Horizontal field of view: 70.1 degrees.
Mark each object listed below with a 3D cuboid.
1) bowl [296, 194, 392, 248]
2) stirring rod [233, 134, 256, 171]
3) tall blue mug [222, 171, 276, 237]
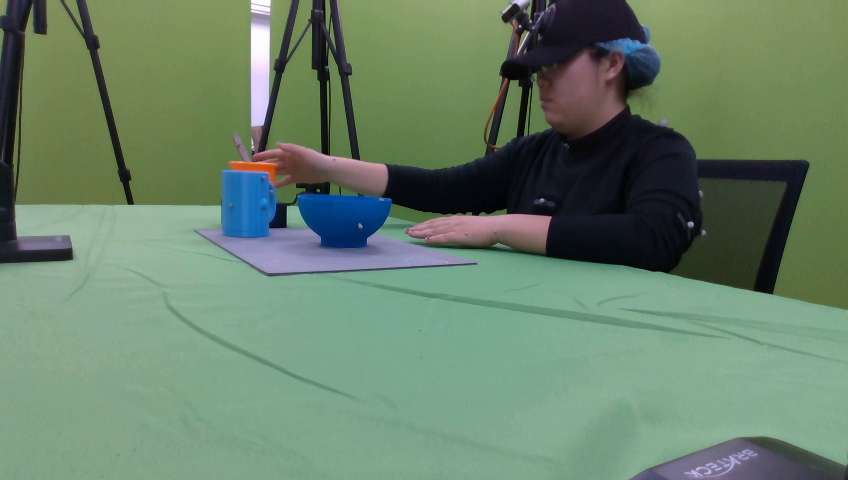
[{"bbox_3d":[-0.128,-0.030,0.964,0.151,0.077,0.151,2,7,0],"label":"bowl"},{"bbox_3d":[-0.346,-0.148,1.198,0.014,0.006,0.175,-6,53,-39],"label":"stirring rod"},{"bbox_3d":[-0.303,-0.065,1.043,0.078,0.108,0.107,1,7,-4],"label":"tall blue mug"}]
